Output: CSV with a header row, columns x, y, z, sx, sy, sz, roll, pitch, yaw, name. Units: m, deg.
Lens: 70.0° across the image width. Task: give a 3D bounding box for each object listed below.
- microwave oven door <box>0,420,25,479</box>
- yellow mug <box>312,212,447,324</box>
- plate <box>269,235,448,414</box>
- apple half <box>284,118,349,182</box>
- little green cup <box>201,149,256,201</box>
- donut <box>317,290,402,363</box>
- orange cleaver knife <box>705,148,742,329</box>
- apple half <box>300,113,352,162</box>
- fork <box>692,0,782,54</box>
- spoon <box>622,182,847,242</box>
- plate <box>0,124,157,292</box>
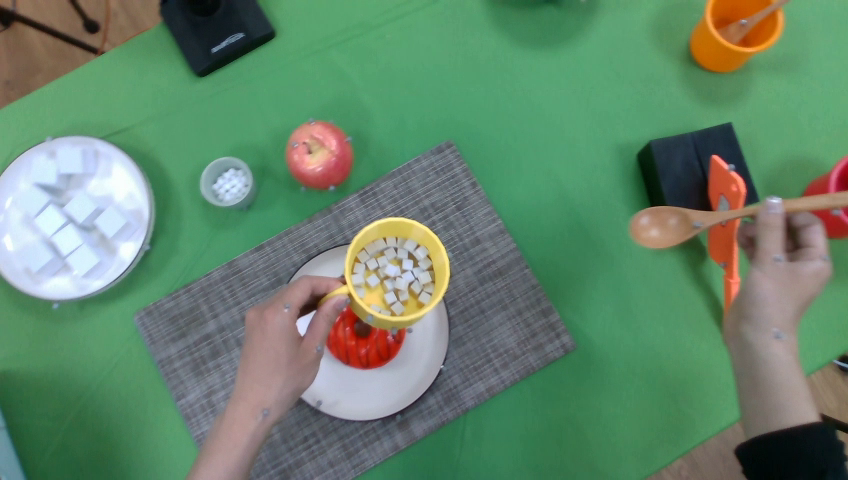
x,y,z,sx,sy,sz,roll,pitch,yaw,name
-0.432,0.354,0.568,0.039,0.244,0.354,-27,81,-3,microwave oven door
-0.046,0.035,0.587,0.131,0.064,0.099,-23,81,-15,yellow mug
-0.076,0.097,0.716,0.209,0.038,0.208,0,82,1,plate
-0.136,-0.100,0.734,0.080,0.075,0.053,40,89,3,apple half
-0.239,-0.077,0.749,0.061,0.039,0.061,0,81,2,little green cup
-0.074,0.094,0.705,0.099,0.048,0.099,0,84,1,donut
0.343,0.001,0.701,0.012,0.076,0.213,-10,113,2,orange cleaver knife
-0.111,-0.130,0.736,0.081,0.081,0.033,40,88,7,apple half
0.418,-0.283,0.709,0.207,0.019,0.028,-29,76,41,fork
0.274,-0.028,0.530,0.193,0.022,0.041,-10,70,27,spoon
-0.429,-0.038,0.748,0.208,0.039,0.207,0,81,1,plate
